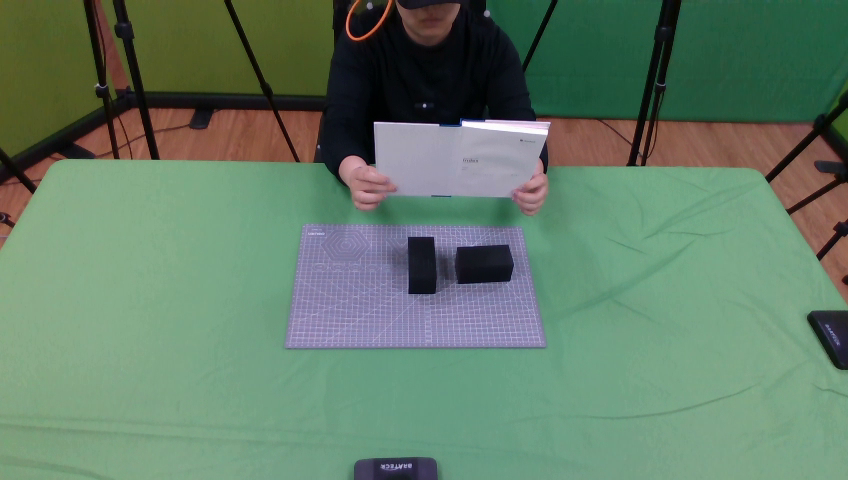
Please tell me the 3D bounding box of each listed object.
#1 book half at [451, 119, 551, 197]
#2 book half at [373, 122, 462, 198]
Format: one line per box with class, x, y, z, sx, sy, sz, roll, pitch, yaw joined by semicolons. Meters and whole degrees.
book half;0.128;-0.137;1.069;0.149;0.211;0.016;1;60;-2
book half;-0.015;-0.134;1.059;0.143;0.211;0.007;1;61;-3
